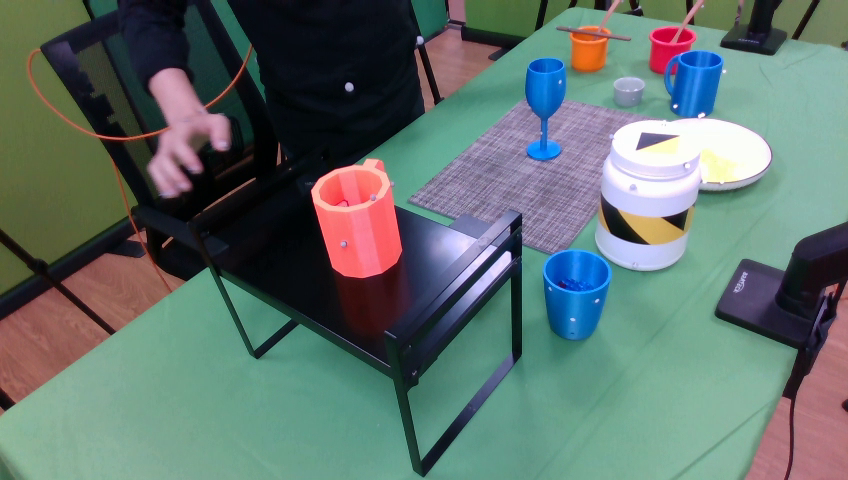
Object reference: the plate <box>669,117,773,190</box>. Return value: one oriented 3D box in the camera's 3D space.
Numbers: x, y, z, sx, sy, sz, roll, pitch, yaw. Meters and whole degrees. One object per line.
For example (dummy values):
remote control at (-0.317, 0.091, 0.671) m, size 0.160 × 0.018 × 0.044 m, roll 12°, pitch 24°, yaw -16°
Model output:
plate at (0.495, -0.149, 1.063) m, size 0.209 × 0.038 × 0.208 m, roll -5°, pitch 40°, yaw 4°

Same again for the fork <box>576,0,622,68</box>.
fork at (0.409, -0.484, 1.381) m, size 0.028 × 0.019 × 0.207 m, roll 37°, pitch 101°, yaw 46°

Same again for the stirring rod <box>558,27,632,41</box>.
stirring rod at (0.381, -0.463, 1.356) m, size 0.175 × 0.006 × 0.014 m, roll 21°, pitch 48°, yaw 30°

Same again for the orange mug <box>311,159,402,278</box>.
orange mug at (-0.069, -0.034, 0.694) m, size 0.083 × 0.101 × 0.126 m, roll 5°, pitch 46°, yaw 16°

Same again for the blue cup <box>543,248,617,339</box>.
blue cup at (0.199, 0.076, 0.797) m, size 0.092 × 0.100 × 0.092 m, roll -4°, pitch 39°, yaw 4°

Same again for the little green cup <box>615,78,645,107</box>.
little green cup at (0.426, -0.306, 1.257) m, size 0.061 × 0.039 × 0.061 m, roll -5°, pitch 40°, yaw 4°

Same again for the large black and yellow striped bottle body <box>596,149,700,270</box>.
large black and yellow striped bottle body at (0.323, -0.062, 0.877) m, size 0.131 × 0.185 × 0.130 m, roll -5°, pitch 40°, yaw 4°

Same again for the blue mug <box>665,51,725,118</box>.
blue mug at (0.526, -0.314, 1.199) m, size 0.082 × 0.106 × 0.115 m, roll -27°, pitch 44°, yaw -21°

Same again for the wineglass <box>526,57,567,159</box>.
wineglass at (0.221, -0.236, 1.097) m, size 0.074 × 0.173 × 0.073 m, roll -5°, pitch 41°, yaw 4°

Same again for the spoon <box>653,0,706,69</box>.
spoon at (0.570, -0.461, 1.334) m, size 0.041 × 0.022 × 0.193 m, roll 39°, pitch 102°, yaw 42°

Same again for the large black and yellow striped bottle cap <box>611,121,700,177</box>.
large black and yellow striped bottle cap at (0.315, -0.126, 0.823) m, size 0.115 × 0.019 × 0.114 m, roll -4°, pitch 42°, yaw 4°
